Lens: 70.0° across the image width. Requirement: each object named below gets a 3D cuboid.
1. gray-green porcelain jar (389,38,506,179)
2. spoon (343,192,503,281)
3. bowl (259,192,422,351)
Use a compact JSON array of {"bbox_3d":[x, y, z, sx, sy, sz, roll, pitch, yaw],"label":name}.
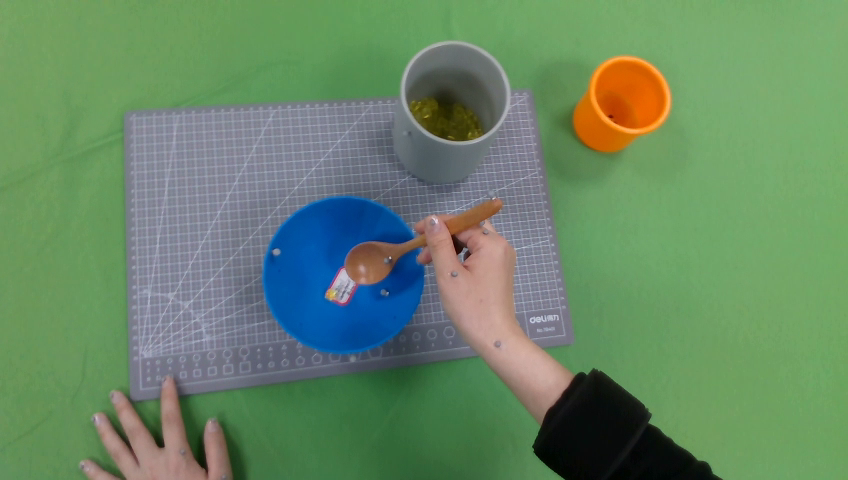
[{"bbox_3d":[0.018,-0.126,0.621,0.106,0.127,0.105,2,77,-7],"label":"gray-green porcelain jar"},{"bbox_3d":[-0.007,-0.001,0.522,0.021,0.193,0.041,-30,95,-45],"label":"spoon"},{"bbox_3d":[-0.081,0.036,0.596,0.152,0.077,0.150,2,77,-7],"label":"bowl"}]
